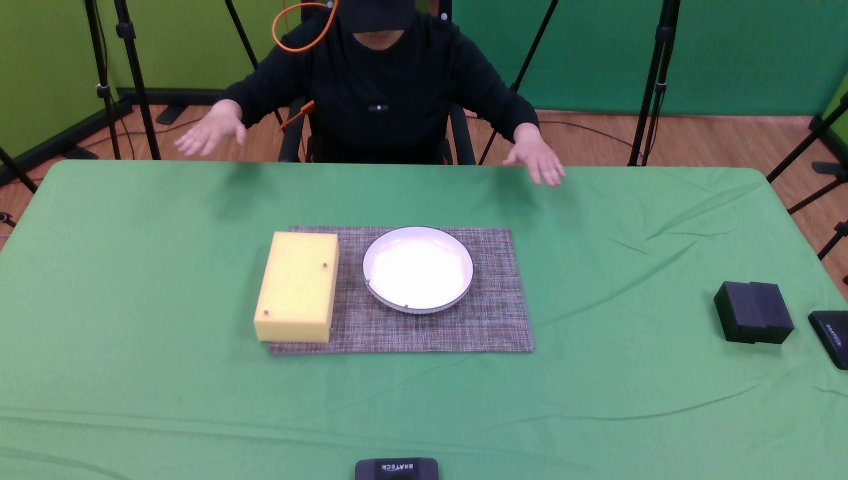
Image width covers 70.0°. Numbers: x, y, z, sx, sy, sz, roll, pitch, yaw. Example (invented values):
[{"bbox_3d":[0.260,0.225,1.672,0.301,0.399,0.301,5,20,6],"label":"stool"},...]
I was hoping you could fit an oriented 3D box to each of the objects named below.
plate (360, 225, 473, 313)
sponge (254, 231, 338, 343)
[{"bbox_3d":[-0.014,0.057,1.126,0.208,0.039,0.206,2,46,-2],"label":"plate"},{"bbox_3d":[-0.221,0.079,1.073,0.118,0.061,0.205,1,46,-3],"label":"sponge"}]
